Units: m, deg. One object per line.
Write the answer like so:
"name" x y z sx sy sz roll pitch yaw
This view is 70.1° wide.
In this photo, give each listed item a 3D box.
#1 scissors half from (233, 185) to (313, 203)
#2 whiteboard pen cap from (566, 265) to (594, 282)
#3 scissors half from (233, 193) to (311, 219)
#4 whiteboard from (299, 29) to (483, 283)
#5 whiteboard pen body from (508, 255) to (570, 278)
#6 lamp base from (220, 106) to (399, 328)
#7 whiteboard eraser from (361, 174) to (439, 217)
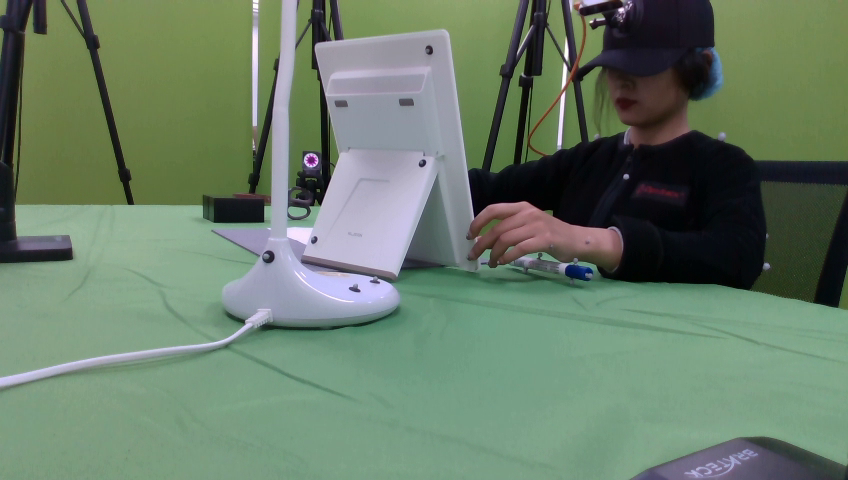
"scissors half" -0.326 -0.098 1.315 0.176 0.040 0.012 -5 19 -29
"whiteboard pen cap" 0.185 0.040 0.722 0.018 0.018 0.033 -3 6 -33
"scissors half" -0.330 -0.078 1.319 0.176 0.040 0.013 16 3 -32
"whiteboard" -0.074 -0.082 0.742 0.216 0.305 0.144 9 29 38
"whiteboard pen body" 0.156 0.035 0.773 0.017 0.017 0.140 -2 7 -32
"lamp base" -0.101 -0.023 0.531 0.160 0.180 0.179 4 10 10
"whiteboard eraser" -0.037 -0.062 0.847 0.112 0.056 0.042 6 35 37
